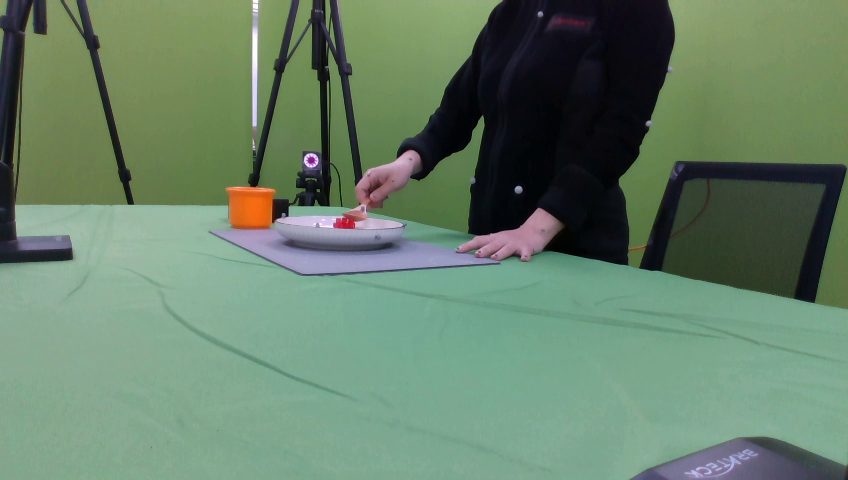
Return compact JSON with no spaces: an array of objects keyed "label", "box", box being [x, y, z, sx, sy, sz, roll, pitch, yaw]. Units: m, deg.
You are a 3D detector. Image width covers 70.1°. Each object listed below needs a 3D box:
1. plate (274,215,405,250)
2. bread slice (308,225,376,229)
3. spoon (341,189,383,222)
[{"label":"plate","box":[-0.136,-0.013,0.981,0.209,0.038,0.209,2,7,0]},{"label":"bread slice","box":[-0.133,-0.011,0.974,0.135,0.018,0.106,-3,8,-33]},{"label":"spoon","box":[-0.099,-0.065,1.057,0.041,0.021,0.194,4,23,11]}]
